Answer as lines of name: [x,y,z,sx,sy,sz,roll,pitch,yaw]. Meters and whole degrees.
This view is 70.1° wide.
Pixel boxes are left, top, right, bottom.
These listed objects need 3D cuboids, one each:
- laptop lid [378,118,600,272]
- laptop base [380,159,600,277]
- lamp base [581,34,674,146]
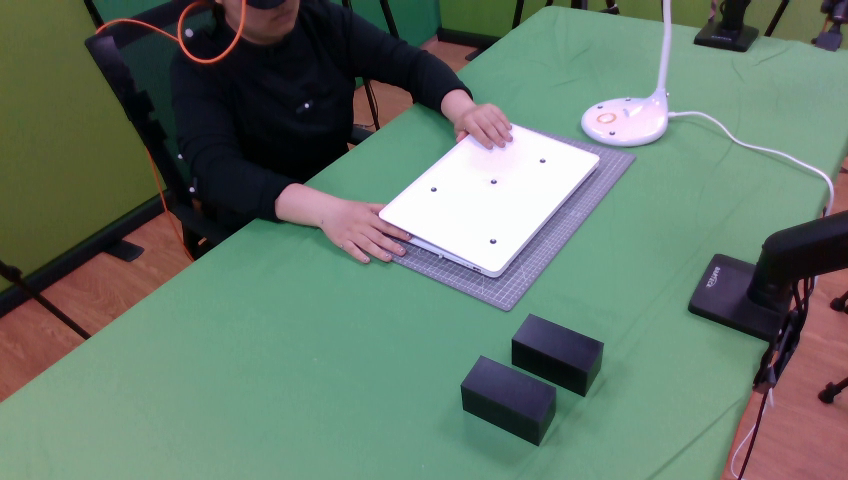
laptop lid: [0.118,-0.096,1.028,0.240,0.013,0.358,28,51,28]
laptop base: [0.122,-0.077,1.043,0.233,0.023,0.355,20,47,33]
lamp base: [0.392,-0.291,1.129,0.180,0.181,0.159,-11,41,-8]
